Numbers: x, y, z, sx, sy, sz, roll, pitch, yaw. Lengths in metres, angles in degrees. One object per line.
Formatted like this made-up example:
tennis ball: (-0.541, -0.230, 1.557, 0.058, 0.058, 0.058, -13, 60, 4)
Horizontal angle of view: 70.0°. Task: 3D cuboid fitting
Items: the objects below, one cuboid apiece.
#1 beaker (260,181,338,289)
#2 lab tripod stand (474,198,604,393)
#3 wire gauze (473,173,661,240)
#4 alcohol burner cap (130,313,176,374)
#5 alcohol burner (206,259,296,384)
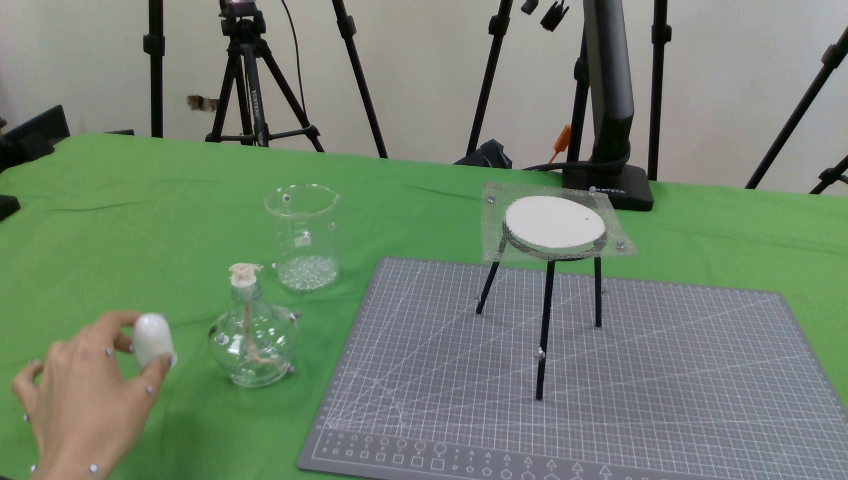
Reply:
beaker: (-0.130, -0.005, 0.657, 0.084, 0.101, 0.073, -18, 38, -27)
lab tripod stand: (0.110, 0.042, 0.553, 0.148, 0.132, 0.147, 2, 34, -1)
wire gauze: (0.117, -0.030, 0.510, 0.125, 0.011, 0.120, -2, 28, -18)
alcohol burner cap: (-0.221, 0.081, 0.488, 0.034, 0.048, 0.033, 5, 31, -3)
alcohol burner: (-0.153, 0.067, 0.531, 0.078, 0.120, 0.077, 2, 31, -1)
